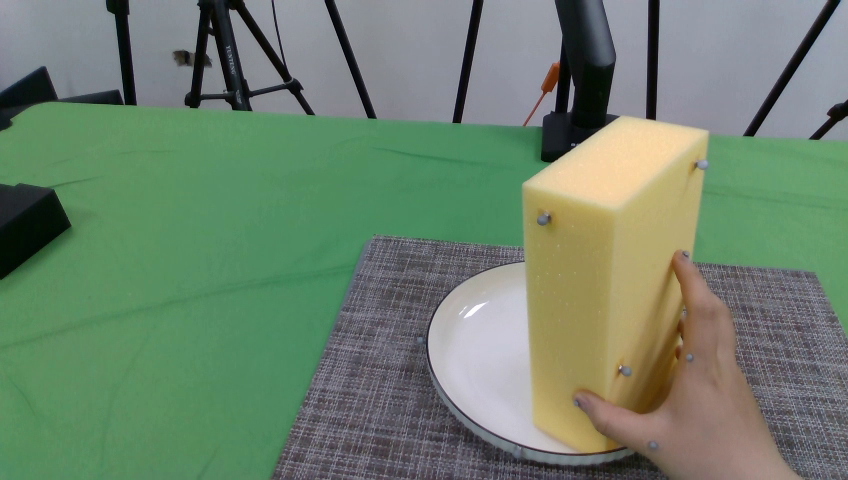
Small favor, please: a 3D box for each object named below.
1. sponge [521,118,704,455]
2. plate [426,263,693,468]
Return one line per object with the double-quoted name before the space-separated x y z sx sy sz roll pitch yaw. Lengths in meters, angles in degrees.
"sponge" 0.128 0.036 0.416 0.060 0.209 0.118 21 44 38
"plate" 0.106 0.097 0.495 0.208 0.039 0.205 -1 37 1
